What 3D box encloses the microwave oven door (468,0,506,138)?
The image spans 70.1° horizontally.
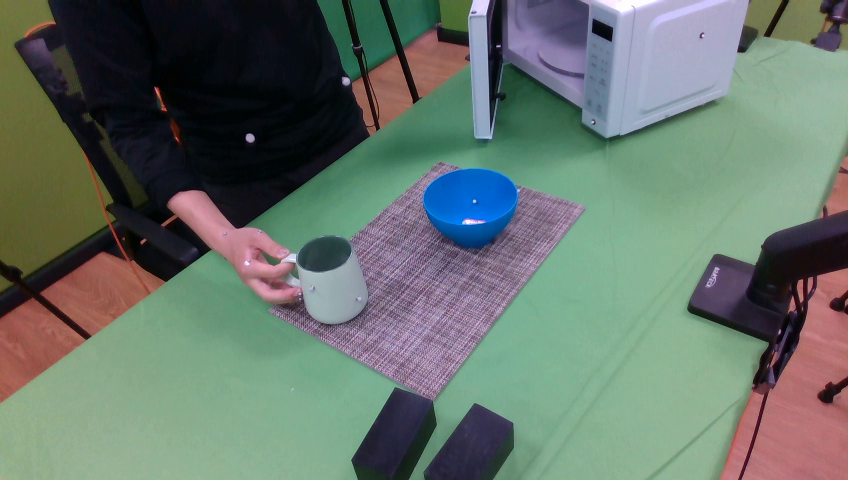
[{"bbox_3d":[0.133,-0.404,1.225,0.039,0.245,0.354,0,41,12],"label":"microwave oven door"}]

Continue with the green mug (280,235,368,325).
[{"bbox_3d":[-0.146,0.055,0.857,0.125,0.105,0.092,8,43,17],"label":"green mug"}]

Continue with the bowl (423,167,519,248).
[{"bbox_3d":[0.075,-0.041,0.959,0.151,0.077,0.150,-4,40,4],"label":"bowl"}]

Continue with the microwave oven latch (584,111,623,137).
[{"bbox_3d":[0.337,-0.222,1.142,0.030,0.029,0.078,-21,42,-14],"label":"microwave oven latch"}]

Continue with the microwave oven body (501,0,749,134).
[{"bbox_3d":[0.382,-0.445,1.246,0.327,0.261,0.437,-22,42,-16],"label":"microwave oven body"}]
